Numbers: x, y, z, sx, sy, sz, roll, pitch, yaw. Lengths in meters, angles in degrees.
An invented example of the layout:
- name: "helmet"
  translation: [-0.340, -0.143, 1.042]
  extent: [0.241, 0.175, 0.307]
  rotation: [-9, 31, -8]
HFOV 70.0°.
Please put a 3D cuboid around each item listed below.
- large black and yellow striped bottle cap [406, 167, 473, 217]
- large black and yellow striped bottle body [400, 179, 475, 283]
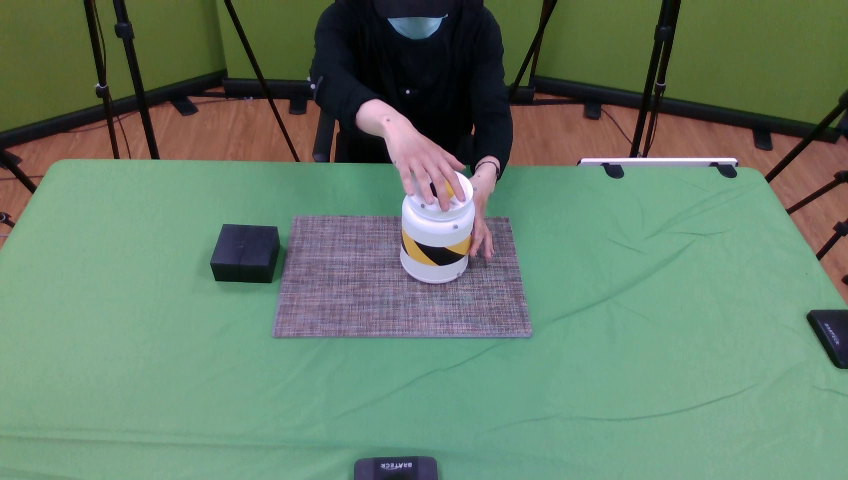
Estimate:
- name: "large black and yellow striped bottle cap"
  translation: [0.027, -0.084, 1.043]
  extent: [0.115, 0.019, 0.114]
  rotation: [3, 46, -3]
- name: "large black and yellow striped bottle body"
  translation: [0.024, -0.025, 1.102]
  extent: [0.131, 0.185, 0.130]
  rotation: [2, 46, -2]
